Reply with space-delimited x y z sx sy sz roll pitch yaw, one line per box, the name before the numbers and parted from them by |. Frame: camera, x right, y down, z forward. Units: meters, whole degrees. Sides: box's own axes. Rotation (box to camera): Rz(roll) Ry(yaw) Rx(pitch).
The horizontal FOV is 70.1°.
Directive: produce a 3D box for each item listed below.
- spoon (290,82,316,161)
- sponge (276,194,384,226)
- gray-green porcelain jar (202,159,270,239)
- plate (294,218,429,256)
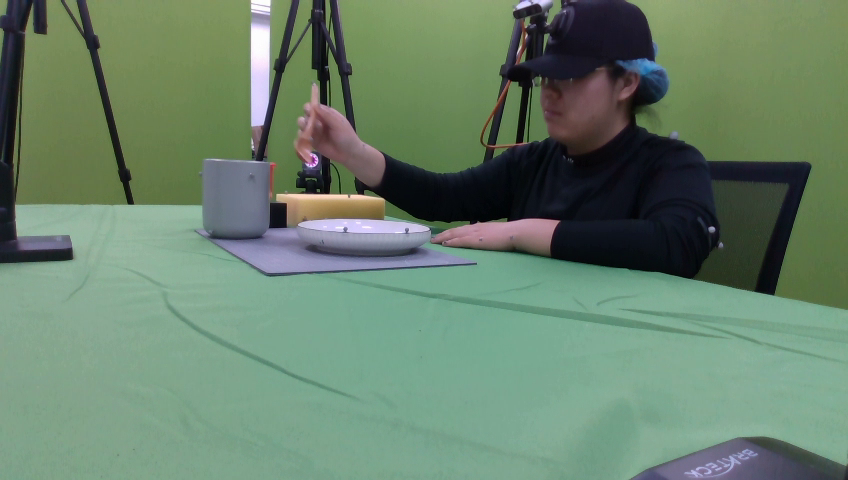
spoon | -0.198 -0.205 1.026 0.021 0.193 0.042 -19 -43 28
sponge | -0.203 -0.067 1.312 0.208 0.061 0.117 -3 9 -35
gray-green porcelain jar | -0.310 -0.068 0.999 0.106 0.126 0.106 3 7 0
plate | -0.096 -0.005 0.936 0.208 0.039 0.207 3 7 0
